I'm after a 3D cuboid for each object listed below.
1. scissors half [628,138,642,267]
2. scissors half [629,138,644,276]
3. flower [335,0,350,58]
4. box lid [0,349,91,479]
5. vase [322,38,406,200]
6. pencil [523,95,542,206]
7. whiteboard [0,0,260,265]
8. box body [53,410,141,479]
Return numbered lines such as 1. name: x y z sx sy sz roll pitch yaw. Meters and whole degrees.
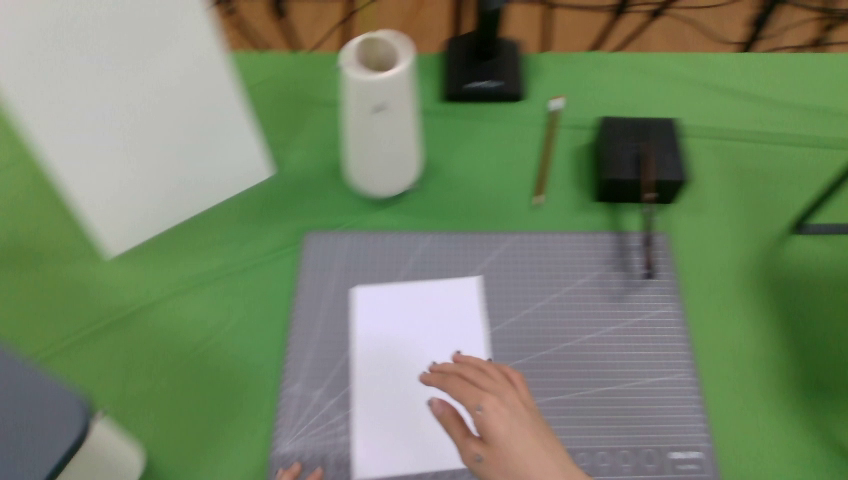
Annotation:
1. scissors half: 0.246 -0.050 0.712 0.013 0.040 0.174 -3 59 19
2. scissors half: 0.254 -0.043 0.729 0.012 0.040 0.174 -5 77 24
3. flower: -0.080 -0.191 0.648 0.044 0.365 0.038 -7 41 -1
4. box lid: -0.476 0.162 0.459 0.370 0.015 0.262 23 61 12
5. vase: -0.072 -0.136 0.712 0.098 0.201 0.097 0 57 1
6. pencil: 0.145 -0.124 0.818 0.012 0.012 0.192 10 60 6
7. whiteboard: -0.366 -0.167 0.700 0.217 0.308 0.142 -32 45 -18
8. box body: -0.475 0.202 0.522 0.362 0.161 0.253 23 61 12
